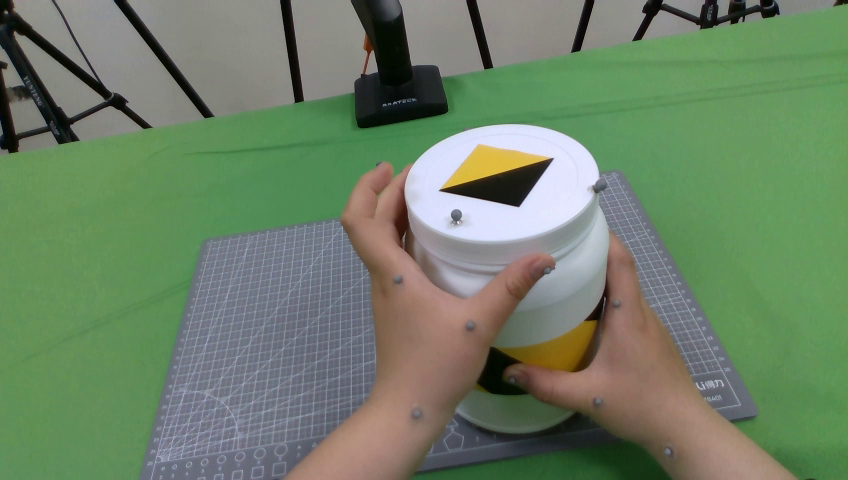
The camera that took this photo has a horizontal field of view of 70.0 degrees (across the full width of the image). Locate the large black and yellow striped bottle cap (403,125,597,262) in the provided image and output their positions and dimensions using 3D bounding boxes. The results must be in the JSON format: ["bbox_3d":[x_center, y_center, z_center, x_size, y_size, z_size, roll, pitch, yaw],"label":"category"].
[{"bbox_3d":[0.044,-0.032,0.360,0.115,0.019,0.114,-6,41,5],"label":"large black and yellow striped bottle cap"}]

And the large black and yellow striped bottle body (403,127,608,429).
[{"bbox_3d":[0.057,0.029,0.418,0.130,0.186,0.129,-6,43,6],"label":"large black and yellow striped bottle body"}]
